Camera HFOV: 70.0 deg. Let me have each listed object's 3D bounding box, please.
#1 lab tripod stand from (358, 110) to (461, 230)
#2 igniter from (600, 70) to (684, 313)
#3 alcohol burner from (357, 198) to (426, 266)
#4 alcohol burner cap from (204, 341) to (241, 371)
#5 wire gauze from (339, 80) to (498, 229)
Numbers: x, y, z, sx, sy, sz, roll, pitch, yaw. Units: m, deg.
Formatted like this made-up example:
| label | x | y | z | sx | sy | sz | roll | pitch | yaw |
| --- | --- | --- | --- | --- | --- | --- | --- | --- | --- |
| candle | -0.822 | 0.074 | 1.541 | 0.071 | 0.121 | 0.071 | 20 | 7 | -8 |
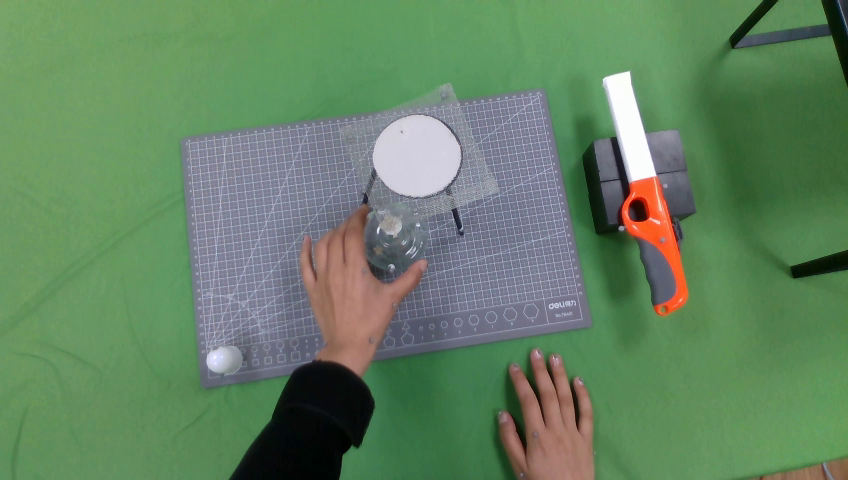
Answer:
| label | x | y | z | sx | sy | sz | roll | pitch | yaw |
| --- | --- | --- | --- | --- | --- | --- | --- | --- | --- |
| lab tripod stand | -0.008 | -0.079 | 0.662 | 0.148 | 0.132 | 0.147 | 0 | 78 | 0 |
| igniter | 0.241 | -0.058 | 0.673 | 0.057 | 0.025 | 0.275 | -12 | 79 | 8 |
| alcohol burner | -0.036 | -0.012 | 0.660 | 0.078 | 0.119 | 0.077 | 0 | 81 | -1 |
| alcohol burner cap | -0.225 | 0.126 | 0.667 | 0.034 | 0.048 | 0.033 | 0 | 77 | 1 |
| wire gauze | -0.007 | -0.085 | 0.596 | 0.125 | 0.011 | 0.121 | -21 | 80 | -5 |
